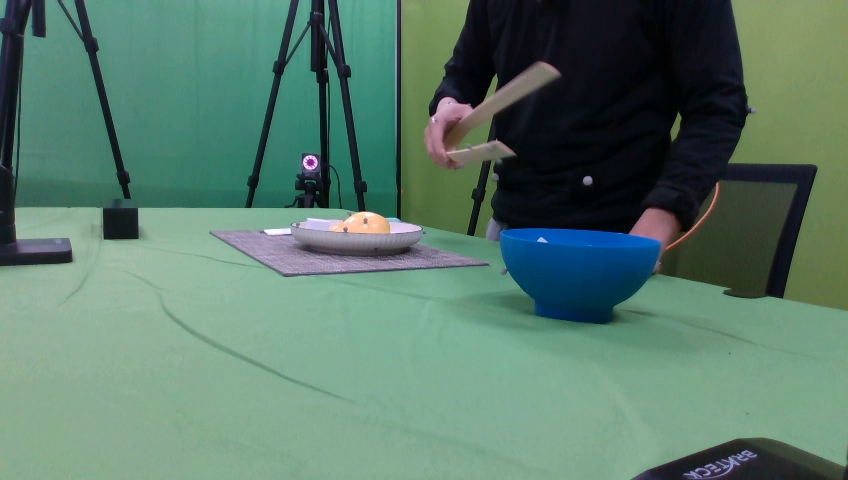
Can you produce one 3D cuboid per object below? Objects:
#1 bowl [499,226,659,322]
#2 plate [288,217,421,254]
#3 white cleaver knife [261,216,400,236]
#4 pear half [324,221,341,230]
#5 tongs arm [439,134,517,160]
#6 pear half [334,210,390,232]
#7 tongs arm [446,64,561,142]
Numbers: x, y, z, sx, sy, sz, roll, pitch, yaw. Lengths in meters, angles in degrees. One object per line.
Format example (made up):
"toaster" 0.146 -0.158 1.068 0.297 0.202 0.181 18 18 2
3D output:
"bowl" 0.146 0.032 0.585 0.151 0.077 0.151 2 7 0
"plate" -0.109 -0.007 0.956 0.208 0.039 0.207 2 7 0
"white cleaver knife" -0.169 -0.021 1.156 0.288 0.021 0.065 -7 20 -33
"pear half" -0.126 -0.019 1.001 0.088 0.031 0.070 8 3 1
"tongs arm" 0.068 -0.134 0.833 0.026 0.050 0.384 29 0 -11
"pear half" -0.108 -0.017 0.920 0.110 0.056 0.076 -4 5 -20
"tongs arm" 0.095 -0.182 0.834 0.028 0.028 0.386 25 -5 -11
